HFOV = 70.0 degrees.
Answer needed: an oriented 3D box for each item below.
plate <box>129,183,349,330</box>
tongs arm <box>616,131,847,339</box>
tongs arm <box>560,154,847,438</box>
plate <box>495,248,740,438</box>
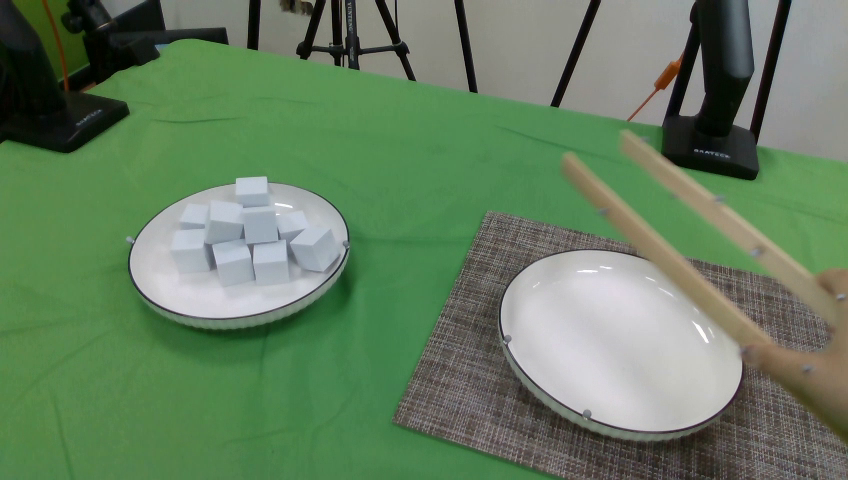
[{"bbox_3d":[-0.179,0.016,0.607,0.209,0.038,0.207,2,40,-1],"label":"plate"},{"bbox_3d":[0.259,0.033,0.451,0.051,0.027,0.380,-24,50,-18],"label":"tongs arm"},{"bbox_3d":[0.224,0.047,0.441,0.028,0.028,0.383,-22,49,-21],"label":"tongs arm"},{"bbox_3d":[0.165,0.088,0.539,0.208,0.039,0.205,2,41,-1],"label":"plate"}]
